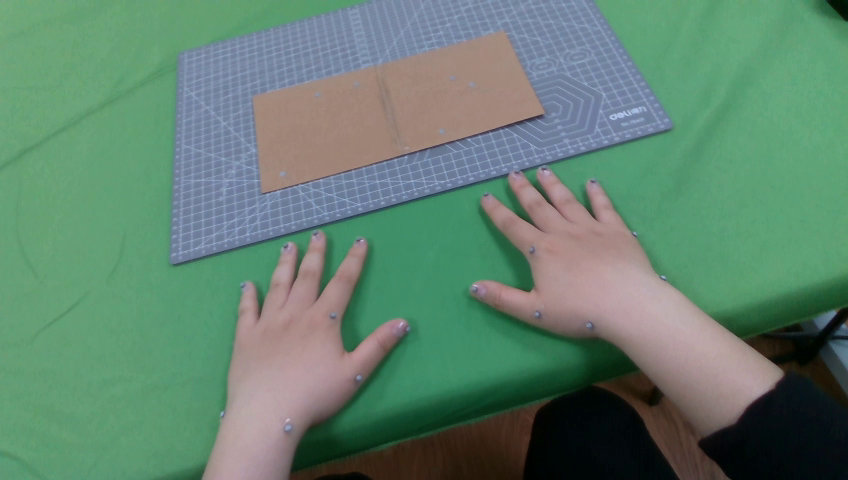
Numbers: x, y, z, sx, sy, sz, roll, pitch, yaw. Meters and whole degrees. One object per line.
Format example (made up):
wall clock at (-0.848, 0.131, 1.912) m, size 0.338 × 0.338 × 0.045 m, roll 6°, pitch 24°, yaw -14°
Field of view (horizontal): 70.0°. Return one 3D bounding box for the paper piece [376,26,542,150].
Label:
paper piece at (0.029, -0.152, 0.587) m, size 0.135 × 0.004 × 0.134 m, roll -16°, pitch 54°, yaw 1°

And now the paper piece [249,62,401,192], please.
paper piece at (-0.100, -0.115, 0.587) m, size 0.138 × 0.009 × 0.134 m, roll -15°, pitch 52°, yaw 0°
